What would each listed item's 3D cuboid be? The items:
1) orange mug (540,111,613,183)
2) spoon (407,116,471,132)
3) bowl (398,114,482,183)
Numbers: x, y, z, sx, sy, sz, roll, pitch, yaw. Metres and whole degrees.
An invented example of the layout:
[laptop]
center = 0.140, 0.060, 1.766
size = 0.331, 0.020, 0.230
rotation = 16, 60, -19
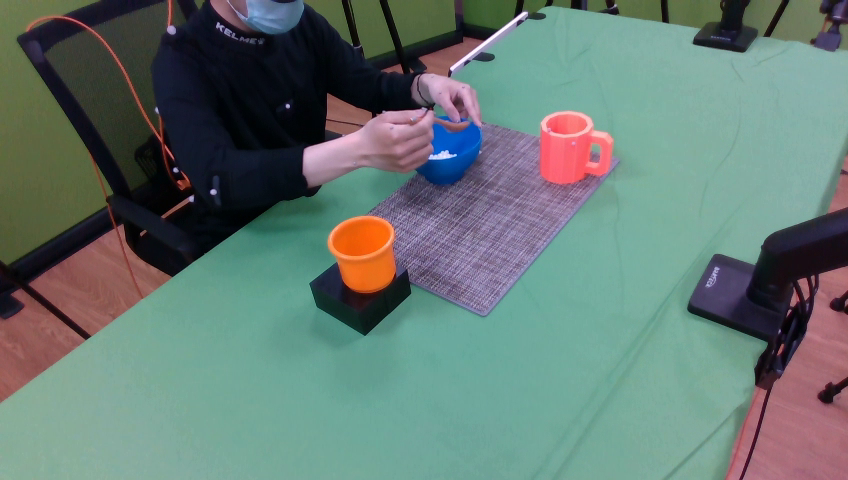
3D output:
[orange mug]
center = 0.263, -0.159, 1.052
size = 0.125, 0.101, 0.083
rotation = 13, 44, 28
[spoon]
center = 0.023, -0.187, 0.961
size = 0.041, 0.021, 0.195
rotation = -9, 0, 31
[bowl]
center = 0.032, -0.156, 1.097
size = 0.151, 0.077, 0.150
rotation = -4, 41, 4
